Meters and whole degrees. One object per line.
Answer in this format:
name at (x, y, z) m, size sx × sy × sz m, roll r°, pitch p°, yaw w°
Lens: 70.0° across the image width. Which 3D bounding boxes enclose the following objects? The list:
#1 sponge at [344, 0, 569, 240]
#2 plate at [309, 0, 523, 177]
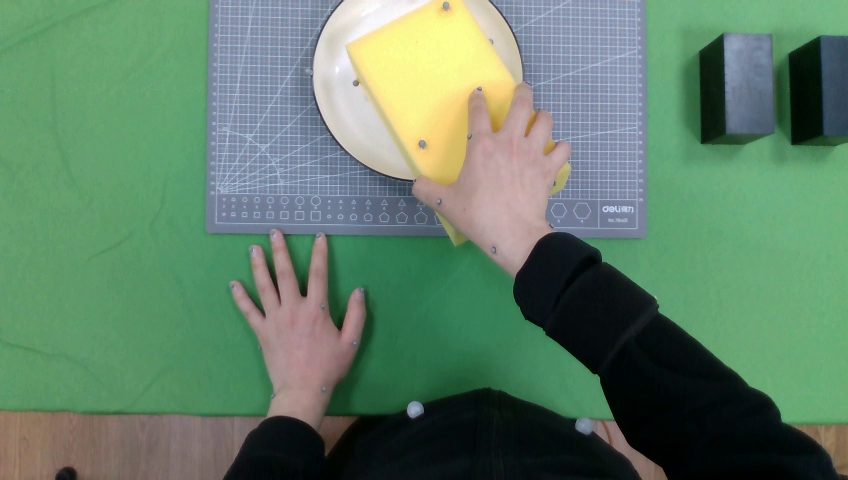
sponge at (0.027, -0.119, 0.566) m, size 0.118 × 0.061 × 0.205 m, roll -29°, pitch 77°, yaw -4°
plate at (-0.007, -0.163, 0.605) m, size 0.209 × 0.038 × 0.209 m, roll 0°, pitch 88°, yaw -3°
